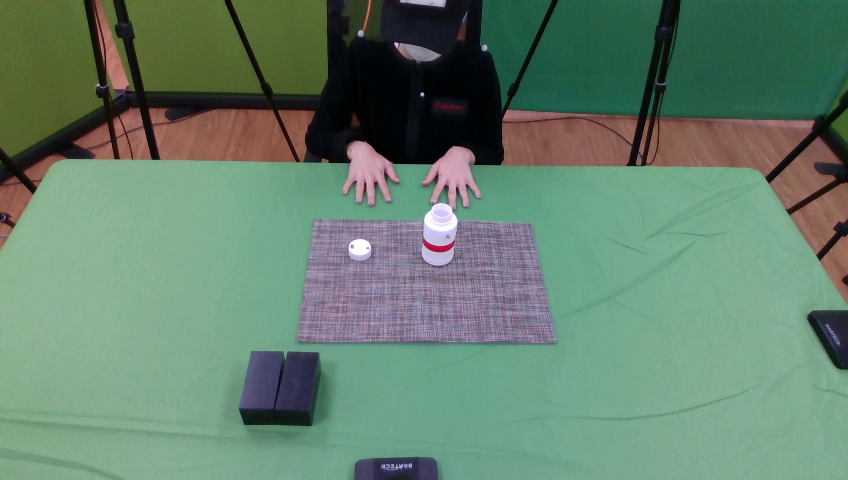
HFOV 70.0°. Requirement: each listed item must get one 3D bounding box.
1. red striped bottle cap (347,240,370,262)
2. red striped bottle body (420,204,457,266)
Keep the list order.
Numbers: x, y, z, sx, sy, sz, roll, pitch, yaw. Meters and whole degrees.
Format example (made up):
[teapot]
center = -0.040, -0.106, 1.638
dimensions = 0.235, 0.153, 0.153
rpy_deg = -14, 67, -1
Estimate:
[red striped bottle cap]
center = -0.127, 0.020, 1.169
dimensions = 0.044, 0.018, 0.044
rpy_deg = 2, 49, -3
[red striped bottle body]
center = 0.027, -0.011, 1.139
dimensions = 0.063, 0.120, 0.062
rpy_deg = 3, 45, -3
